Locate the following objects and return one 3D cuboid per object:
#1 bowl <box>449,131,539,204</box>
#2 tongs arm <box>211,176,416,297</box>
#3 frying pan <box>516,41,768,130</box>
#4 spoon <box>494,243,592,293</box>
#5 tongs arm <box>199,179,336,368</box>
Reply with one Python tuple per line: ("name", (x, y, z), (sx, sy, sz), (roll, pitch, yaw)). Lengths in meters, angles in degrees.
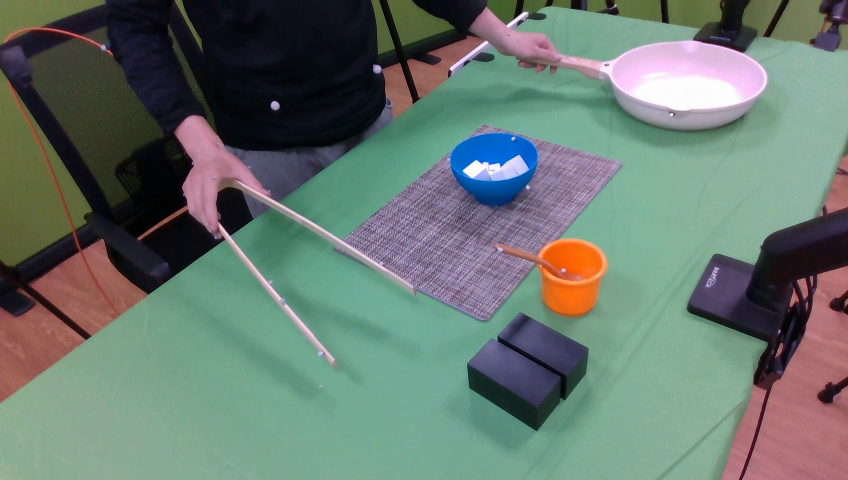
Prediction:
("bowl", (0.121, -0.114, 1.033), (0.151, 0.077, 0.150), (-4, 40, 4))
("tongs arm", (-0.169, -0.012, 0.889), (0.385, 0.028, 0.028), (29, 66, 22))
("frying pan", (0.423, -0.338, 1.236), (0.486, 0.103, 0.307), (18, 45, 15))
("spoon", (0.162, 0.034, 0.808), (0.021, 0.195, 0.041), (-47, 40, 21))
("tongs arm", (-0.224, 0.035, 0.858), (0.051, 0.026, 0.382), (-38, 60, -20))
